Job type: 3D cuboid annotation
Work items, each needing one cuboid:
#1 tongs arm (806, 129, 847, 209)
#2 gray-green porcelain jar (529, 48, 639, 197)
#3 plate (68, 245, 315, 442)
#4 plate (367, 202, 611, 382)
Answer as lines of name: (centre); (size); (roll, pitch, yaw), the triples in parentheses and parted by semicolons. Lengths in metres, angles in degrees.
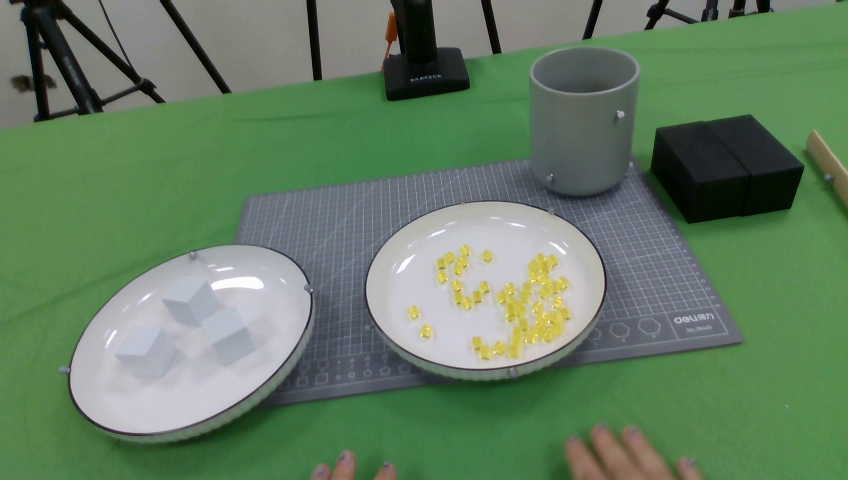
tongs arm: (0.412, 0.017, 0.511); (0.028, 0.028, 0.383); (-2, 41, 4)
gray-green porcelain jar: (0.162, -0.117, 0.628); (0.106, 0.128, 0.105); (-5, 41, 5)
plate: (-0.194, 0.086, 0.528); (0.209, 0.038, 0.207); (-6, 41, 6)
plate: (0.055, 0.043, 0.533); (0.207, 0.039, 0.205); (-5, 41, 5)
